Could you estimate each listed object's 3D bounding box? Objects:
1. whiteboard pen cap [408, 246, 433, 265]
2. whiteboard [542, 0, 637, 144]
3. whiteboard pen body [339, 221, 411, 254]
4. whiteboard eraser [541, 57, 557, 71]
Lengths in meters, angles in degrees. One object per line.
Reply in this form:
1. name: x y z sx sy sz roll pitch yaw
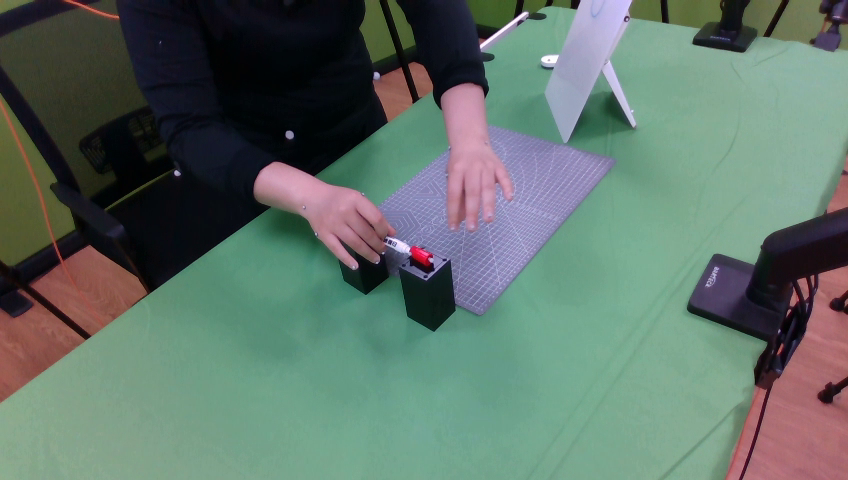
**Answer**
1. whiteboard pen cap: -0.005 0.020 0.795 0.032 0.017 0.017 27 51 37
2. whiteboard: 0.366 -0.351 1.160 0.144 0.305 0.216 10 39 -10
3. whiteboard pen body: -0.061 -0.001 0.834 0.139 0.017 0.017 20 47 28
4. whiteboard eraser: 0.323 -0.412 1.407 0.101 0.019 0.041 1 41 11
